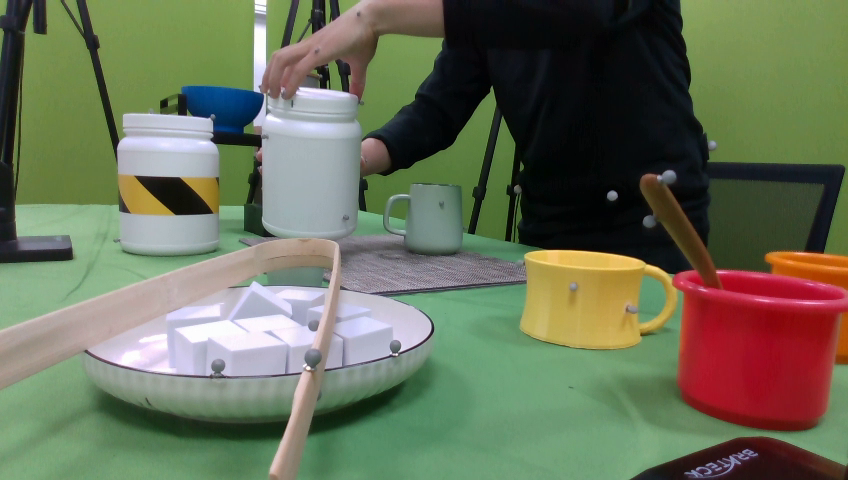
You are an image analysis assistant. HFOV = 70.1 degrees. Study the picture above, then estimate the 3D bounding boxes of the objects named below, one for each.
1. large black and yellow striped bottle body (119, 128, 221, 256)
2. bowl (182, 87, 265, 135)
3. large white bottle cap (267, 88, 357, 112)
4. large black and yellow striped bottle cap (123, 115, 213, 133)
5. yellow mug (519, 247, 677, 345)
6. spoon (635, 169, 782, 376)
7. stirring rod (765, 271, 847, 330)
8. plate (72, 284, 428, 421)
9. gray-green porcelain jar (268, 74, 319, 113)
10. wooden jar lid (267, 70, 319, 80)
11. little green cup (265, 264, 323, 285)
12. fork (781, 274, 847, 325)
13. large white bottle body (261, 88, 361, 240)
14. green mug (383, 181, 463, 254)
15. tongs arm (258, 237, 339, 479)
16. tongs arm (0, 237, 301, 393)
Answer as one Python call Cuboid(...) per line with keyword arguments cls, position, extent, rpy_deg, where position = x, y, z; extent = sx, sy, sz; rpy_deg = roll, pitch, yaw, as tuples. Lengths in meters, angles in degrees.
Cuboid(cls="large black and yellow striped bottle body", position=(-0.355, -0.076, 0.850), extent=(0.131, 0.184, 0.130), rpy_deg=(2, 8, 0))
Cuboid(cls="bowl", position=(-0.383, -0.244, 1.158), extent=(0.151, 0.077, 0.151), rpy_deg=(2, 7, 0))
Cuboid(cls="large white bottle cap", position=(-0.144, -0.183, 0.784), extent=(0.115, 0.018, 0.114), rpy_deg=(5, 19, -1))
Cuboid(cls="large black and yellow striped bottle cap", position=(-0.353, -0.159, 0.838), extent=(0.115, 0.019, 0.115), rpy_deg=(2, 6, 0))
Cuboid(cls="yellow mug", position=(0.148, 0.045, 0.513), extent=(0.131, 0.064, 0.100), rpy_deg=(3, 7, 0))
Cuboid(cls="spoon", position=(0.161, 0.026, 0.346), extent=(0.041, 0.194, 0.021), rpy_deg=(10, 56, 53))
Cuboid(cls="stirring rod", position=(0.351, 0.020, 0.481), extent=(0.176, 0.006, 0.014), rpy_deg=(-40, -7, 17))
Cuboid(cls="plate", position=(-0.102, 0.066, 0.381), extent=(0.208, 0.039, 0.207), rpy_deg=(3, 7, 0))
Cuboid(cls="gray-green porcelain jar", position=(-0.277, -0.279, 1.280), extent=(0.106, 0.126, 0.106), rpy_deg=(2, 8, 0))
Cuboid(cls="wooden jar lid", position=(-0.275, -0.340, 1.271), extent=(0.108, 0.020, 0.108), rpy_deg=(5, 6, 0))
Cuboid(cls="little green cup", position=(-0.134, 0.033, 0.627), extent=(0.061, 0.038, 0.061), rpy_deg=(3, 7, 0))
Cuboid(cls="fork", position=(0.332, 0.018, 0.443), extent=(0.028, 0.018, 0.207), rpy_deg=(-2, -35, -16))
Cuboid(cls="large white bottle body", position=(-0.151, -0.103, 0.811), extent=(0.131, 0.184, 0.130), rpy_deg=(4, 19, -1))
Cuboid(cls="green mug", position=(-0.001, -0.036, 0.922), extent=(0.126, 0.105, 0.092), rpy_deg=(0, 8, -15))
Cuboid(cls="tongs arm", position=(-0.074, 0.040, 0.345), extent=(0.051, 0.026, 0.384), rpy_deg=(-2, 9, -3))
Cuboid(cls="tongs arm", position=(-0.158, 0.039, 0.347), extent=(0.028, 0.028, 0.388), rpy_deg=(-3, 8, 11))
